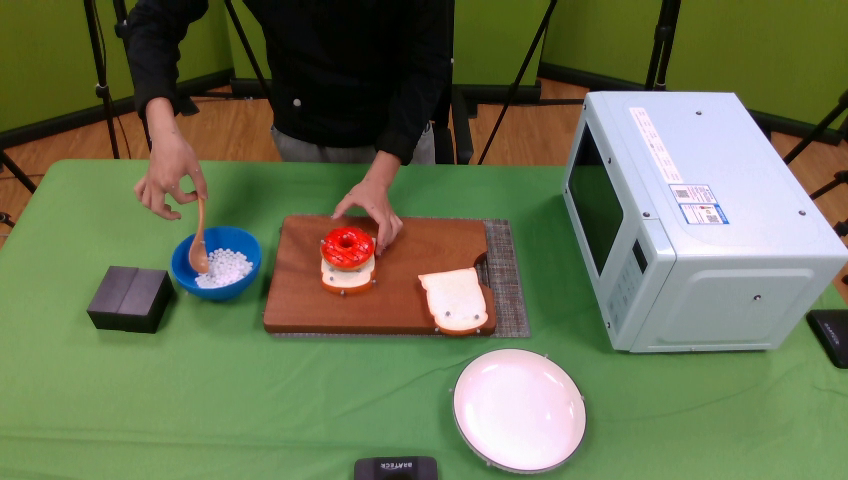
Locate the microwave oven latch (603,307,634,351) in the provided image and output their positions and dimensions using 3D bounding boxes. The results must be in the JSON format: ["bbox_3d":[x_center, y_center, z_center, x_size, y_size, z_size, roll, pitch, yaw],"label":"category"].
[{"bbox_3d":[0.332,0.153,1.044,0.030,0.029,0.078,0,45,-4],"label":"microwave oven latch"}]

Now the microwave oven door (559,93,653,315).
[{"bbox_3d":[0.327,-0.074,1.123,0.039,0.245,0.353,-1,46,-5],"label":"microwave oven door"}]

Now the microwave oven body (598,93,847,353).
[{"bbox_3d":[0.475,-0.041,1.109,0.326,0.261,0.438,-1,45,-4],"label":"microwave oven body"}]

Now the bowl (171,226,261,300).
[{"bbox_3d":[-0.363,0.054,1.081,0.151,0.077,0.150,2,45,-2],"label":"bowl"}]

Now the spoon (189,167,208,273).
[{"bbox_3d":[-0.395,-0.036,1.071,0.021,0.042,0.193,-5,80,27],"label":"spoon"}]

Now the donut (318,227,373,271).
[{"bbox_3d":[-0.142,0.017,1.095,0.099,0.048,0.098,2,44,-2],"label":"donut"}]

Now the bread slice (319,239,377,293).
[{"bbox_3d":[-0.140,0.044,1.111,0.105,0.019,0.130,0,44,-3],"label":"bread slice"}]

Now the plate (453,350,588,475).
[{"bbox_3d":[0.147,0.267,0.943,0.208,0.039,0.206,2,45,-2],"label":"plate"}]

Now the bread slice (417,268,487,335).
[{"bbox_3d":[0.055,0.107,1.063,0.107,0.018,0.133,-9,48,-12],"label":"bread slice"}]
